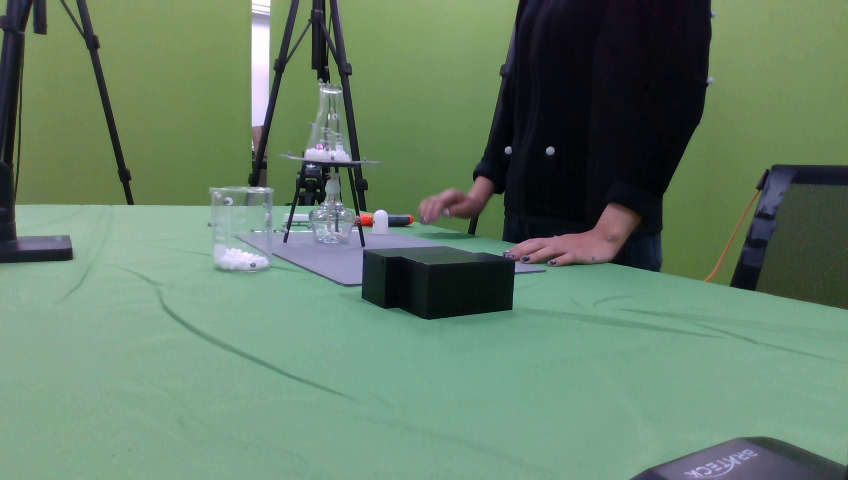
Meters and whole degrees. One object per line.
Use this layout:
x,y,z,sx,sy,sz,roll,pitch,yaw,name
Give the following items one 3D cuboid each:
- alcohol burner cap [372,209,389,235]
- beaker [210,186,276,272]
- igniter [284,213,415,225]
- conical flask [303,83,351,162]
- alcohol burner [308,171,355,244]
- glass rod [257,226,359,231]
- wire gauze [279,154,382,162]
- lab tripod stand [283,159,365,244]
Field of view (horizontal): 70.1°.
-0.082,-0.035,1.143,0.034,0.048,0.034,3,6,0,alcohol burner cap
-0.224,-0.014,0.738,0.084,0.100,0.074,4,7,16,beaker
-0.154,-0.045,1.282,0.278,0.025,0.057,0,-3,-20,igniter
-0.151,-0.186,0.963,0.075,0.122,0.075,4,6,0,conical flask
-0.151,-0.054,0.993,0.078,0.119,0.078,2,6,0,alcohol burner
-0.216,-0.022,1.151,0.201,0.008,0.008,-2,8,-28,glass rod
-0.149,-0.128,0.974,0.124,0.011,0.122,7,6,41,wire gauze
-0.151,-0.063,0.983,0.148,0.131,0.148,4,7,0,lab tripod stand
